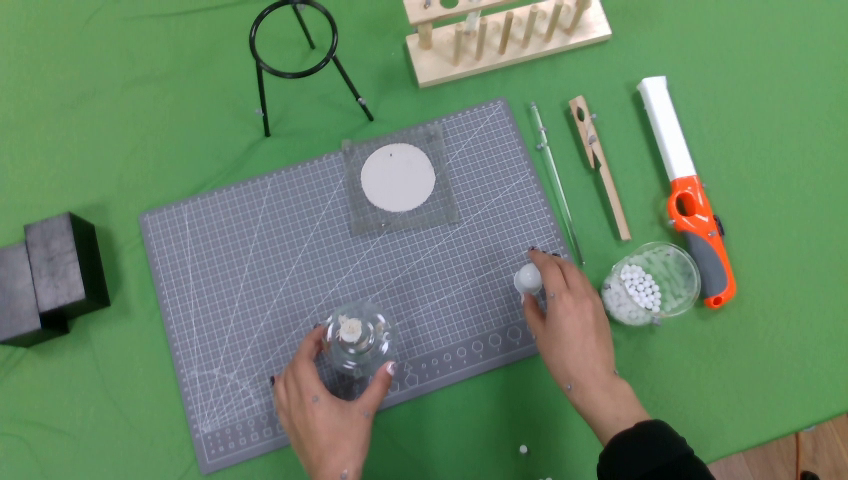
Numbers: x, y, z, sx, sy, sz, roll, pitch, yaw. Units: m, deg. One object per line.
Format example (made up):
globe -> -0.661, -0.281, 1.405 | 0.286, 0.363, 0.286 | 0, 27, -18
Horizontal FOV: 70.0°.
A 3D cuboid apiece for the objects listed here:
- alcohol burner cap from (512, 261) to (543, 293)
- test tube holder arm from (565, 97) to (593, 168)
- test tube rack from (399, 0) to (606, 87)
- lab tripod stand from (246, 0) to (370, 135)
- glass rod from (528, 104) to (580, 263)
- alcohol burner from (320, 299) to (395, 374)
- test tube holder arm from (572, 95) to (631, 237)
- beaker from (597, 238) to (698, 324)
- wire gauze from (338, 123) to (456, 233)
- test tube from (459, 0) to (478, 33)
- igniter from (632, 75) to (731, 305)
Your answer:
alcohol burner cap -> 0.114, 0.038, 0.657 | 0.034, 0.048, 0.033 | -1, 75, 2
test tube holder arm -> 0.186, -0.127, 0.714 | 0.010, 0.015, 0.087 | -25, 75, 30
test tube rack -> 0.097, -0.259, 0.712 | 0.242, 0.085, 0.066 | -15, 76, -3
lab tripod stand -> -0.136, -0.185, 0.672 | 0.148, 0.132, 0.147 | 0, 78, 0
glass rod -> 0.150, -0.068, 0.703 | 0.008, 0.008, 0.198 | -14, 78, -3
alcohol burner -> -0.069, 0.095, 0.608 | 0.078, 0.120, 0.077 | -1, 75, 3
test tube holder arm -> 0.204, -0.087, 0.701 | 0.013, 0.015, 0.177 | -26, 74, 30
beaker -> 0.223, 0.046, 0.628 | 0.084, 0.101, 0.073 | 12, 76, 5
wire gauze -> -0.033, -0.072, 0.704 | 0.125, 0.011, 0.121 | -8, 77, -2
test tube -> 0.056, -0.275, 0.665 | 0.017, 0.151, 0.017 | 1, 75, -4
igniter -> 0.293, -0.062, 0.691 | 0.057, 0.025, 0.275 | -9, 76, -13
